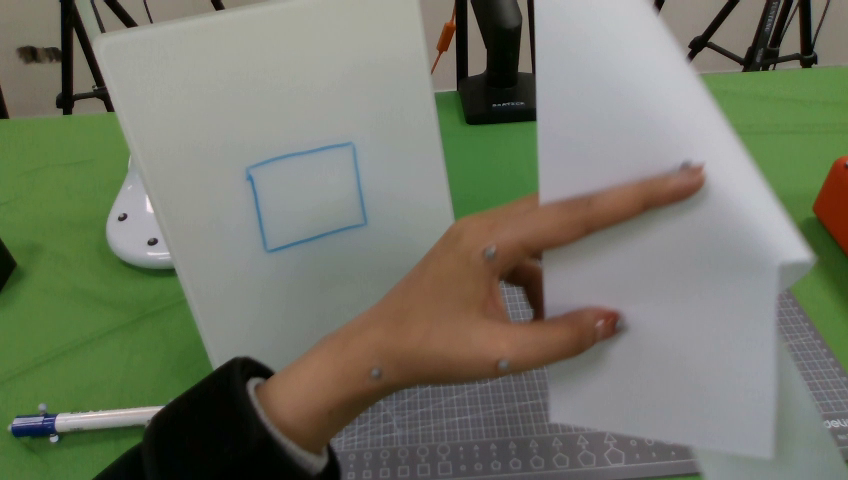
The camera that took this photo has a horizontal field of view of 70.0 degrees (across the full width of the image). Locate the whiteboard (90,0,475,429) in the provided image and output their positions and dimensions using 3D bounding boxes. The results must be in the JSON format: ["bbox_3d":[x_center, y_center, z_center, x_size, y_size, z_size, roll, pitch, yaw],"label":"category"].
[{"bbox_3d":[-0.103,-0.039,0.517,0.217,0.307,0.142,-18,25,-16],"label":"whiteboard"}]

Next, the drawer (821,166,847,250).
[{"bbox_3d":[0.518,0.012,0.555,0.194,0.074,0.209,-2,41,1],"label":"drawer"}]

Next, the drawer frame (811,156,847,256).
[{"bbox_3d":[0.517,0.007,0.559,0.202,0.083,0.211,-3,41,0],"label":"drawer frame"}]

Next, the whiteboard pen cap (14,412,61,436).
[{"bbox_3d":[-0.305,0.146,0.482,0.033,0.018,0.018,-2,41,-8],"label":"whiteboard pen cap"}]

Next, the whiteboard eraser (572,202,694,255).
[{"bbox_3d":[0.211,-0.010,0.620,0.112,0.042,0.055,1,40,4],"label":"whiteboard eraser"}]

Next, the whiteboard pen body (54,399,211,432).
[{"bbox_3d":[-0.245,0.142,0.488,0.141,0.017,0.017,-4,41,-7],"label":"whiteboard pen body"}]

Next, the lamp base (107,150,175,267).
[{"bbox_3d":[-0.281,-0.089,0.633,0.177,0.182,0.160,25,48,31],"label":"lamp base"}]
